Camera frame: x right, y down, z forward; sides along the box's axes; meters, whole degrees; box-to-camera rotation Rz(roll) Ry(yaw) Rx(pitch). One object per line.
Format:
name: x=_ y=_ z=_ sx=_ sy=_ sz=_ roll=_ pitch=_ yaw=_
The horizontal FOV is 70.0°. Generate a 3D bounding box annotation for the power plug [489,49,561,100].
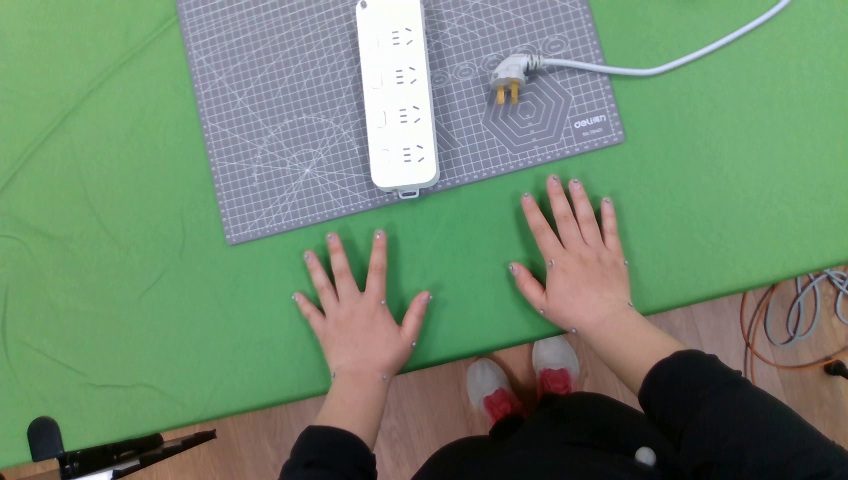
power plug: x=0.104 y=-0.172 z=0.627 sx=0.072 sy=0.035 sz=0.052 roll=-2 pitch=82 yaw=19

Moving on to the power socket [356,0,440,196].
power socket: x=-0.028 y=-0.162 z=0.651 sx=0.072 sy=0.033 sz=0.226 roll=-6 pitch=85 yaw=7
